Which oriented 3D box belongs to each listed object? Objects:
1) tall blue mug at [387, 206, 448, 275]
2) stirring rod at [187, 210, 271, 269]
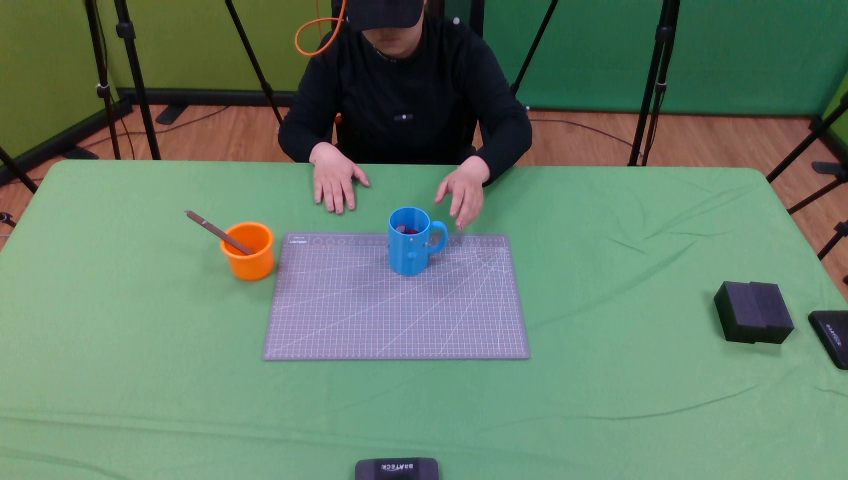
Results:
[{"bbox_3d":[-0.018,-0.004,1.138,0.107,0.108,0.077,-30,54,-29],"label":"tall blue mug"},{"bbox_3d":[-0.349,0.000,1.092,0.177,0.006,0.014,38,36,-27],"label":"stirring rod"}]
